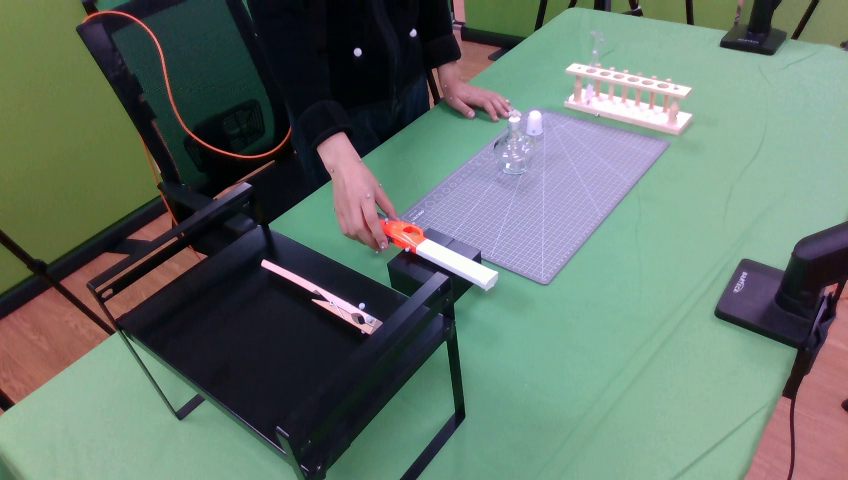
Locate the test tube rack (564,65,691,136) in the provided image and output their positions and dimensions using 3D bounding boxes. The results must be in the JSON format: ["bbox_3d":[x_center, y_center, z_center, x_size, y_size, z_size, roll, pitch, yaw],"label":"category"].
[{"bbox_3d":[0.404,-0.288,1.204,0.240,0.085,0.067,24,49,32],"label":"test tube rack"}]

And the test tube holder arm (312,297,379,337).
[{"bbox_3d":[-0.082,0.075,0.622,0.087,0.015,0.010,27,80,33],"label":"test tube holder arm"}]

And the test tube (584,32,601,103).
[{"bbox_3d":[0.333,-0.338,1.198,0.017,0.151,0.017,-3,45,3],"label":"test tube"}]

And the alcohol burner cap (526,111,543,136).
[{"bbox_3d":[0.219,-0.232,1.196,0.034,0.048,0.033,-4,41,4],"label":"alcohol burner cap"}]

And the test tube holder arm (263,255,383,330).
[{"bbox_3d":[-0.113,0.054,0.647,0.177,0.015,0.013,26,80,33],"label":"test tube holder arm"}]

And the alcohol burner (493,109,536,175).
[{"bbox_3d":[0.163,-0.179,1.087,0.078,0.119,0.077,-5,39,5],"label":"alcohol burner"}]

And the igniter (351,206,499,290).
[{"bbox_3d":[-0.009,0.005,0.895,0.274,0.025,0.057,26,44,32],"label":"igniter"}]
